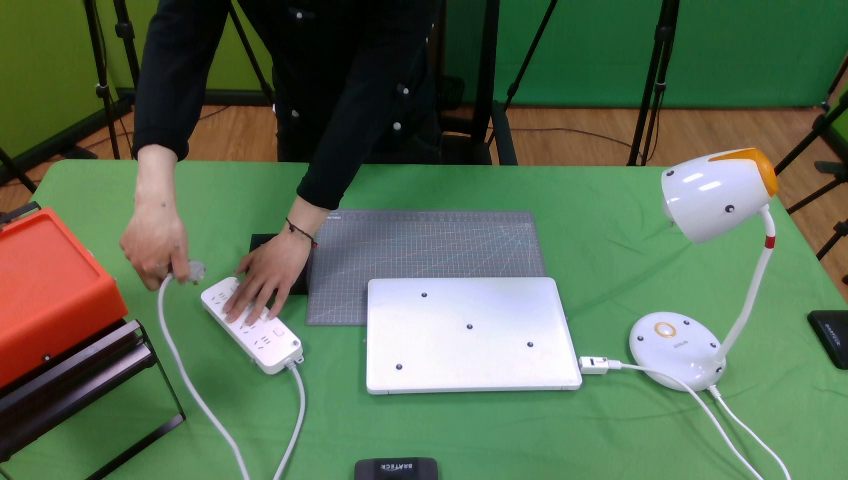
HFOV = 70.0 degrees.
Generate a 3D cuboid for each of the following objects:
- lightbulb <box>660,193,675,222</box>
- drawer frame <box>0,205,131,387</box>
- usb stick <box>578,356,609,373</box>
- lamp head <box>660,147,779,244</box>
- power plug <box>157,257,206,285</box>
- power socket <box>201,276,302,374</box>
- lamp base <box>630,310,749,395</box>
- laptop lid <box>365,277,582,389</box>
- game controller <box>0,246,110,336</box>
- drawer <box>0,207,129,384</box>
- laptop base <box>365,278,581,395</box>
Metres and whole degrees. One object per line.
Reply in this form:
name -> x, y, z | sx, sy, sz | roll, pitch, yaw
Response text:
lightbulb -> 0.367, -0.060, 0.806 | 0.060, 0.107, 0.059 | 17, 60, -32
drawer frame -> -0.539, 0.075, 0.795 | 0.200, 0.083, 0.213 | 36, 54, 26
usb stick -> 0.274, 0.207, 1.007 | 0.059, 0.027, 0.021 | 0, 52, 0
lamp head -> 0.389, -0.063, 0.784 | 0.123, 0.113, 0.112 | -22, 33, 37
power plug -> -0.366, 0.053, 0.916 | 0.072, 0.053, 0.035 | -31, 51, -21
power socket -> -0.297, 0.141, 1.034 | 0.072, 0.033, 0.225 | -34, 58, -30
lamp base -> 0.447, 0.142, 0.984 | 0.161, 0.181, 0.178 | -24, 55, -24
laptop lid -> 0.077, 0.152, 1.046 | 0.357, 0.013, 0.240 | 1, 45, -3
game controller -> -0.511, 0.063, 0.830 | 0.097, 0.052, 0.154 | -30, 58, -32
drawer -> -0.539, 0.074, 0.798 | 0.193, 0.073, 0.211 | 37, 55, 27
laptop base -> 0.076, 0.162, 1.053 | 0.355, 0.023, 0.234 | 0, 44, -4
